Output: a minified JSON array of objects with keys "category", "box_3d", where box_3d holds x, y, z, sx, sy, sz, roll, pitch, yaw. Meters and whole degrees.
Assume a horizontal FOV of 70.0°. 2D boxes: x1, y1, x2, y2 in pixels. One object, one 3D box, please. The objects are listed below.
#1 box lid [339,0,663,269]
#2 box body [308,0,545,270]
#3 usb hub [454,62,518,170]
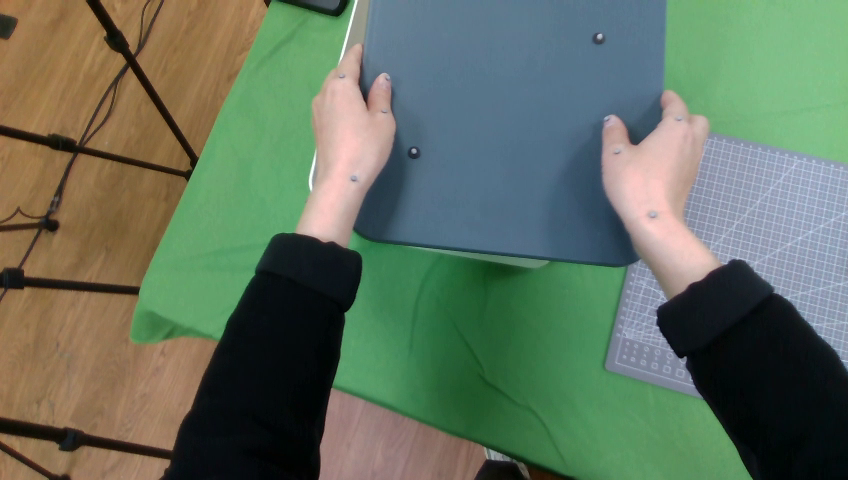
[{"category":"box lid","box_3d":[0.076,-0.164,0.532,0.263,0.015,0.370,6,80,0]},{"category":"box body","box_3d":[0.053,-0.164,0.669,0.254,0.161,0.362,10,78,8]},{"category":"usb hub","box_3d":[0.075,-0.150,0.729,0.049,0.025,0.125,15,81,7]}]
